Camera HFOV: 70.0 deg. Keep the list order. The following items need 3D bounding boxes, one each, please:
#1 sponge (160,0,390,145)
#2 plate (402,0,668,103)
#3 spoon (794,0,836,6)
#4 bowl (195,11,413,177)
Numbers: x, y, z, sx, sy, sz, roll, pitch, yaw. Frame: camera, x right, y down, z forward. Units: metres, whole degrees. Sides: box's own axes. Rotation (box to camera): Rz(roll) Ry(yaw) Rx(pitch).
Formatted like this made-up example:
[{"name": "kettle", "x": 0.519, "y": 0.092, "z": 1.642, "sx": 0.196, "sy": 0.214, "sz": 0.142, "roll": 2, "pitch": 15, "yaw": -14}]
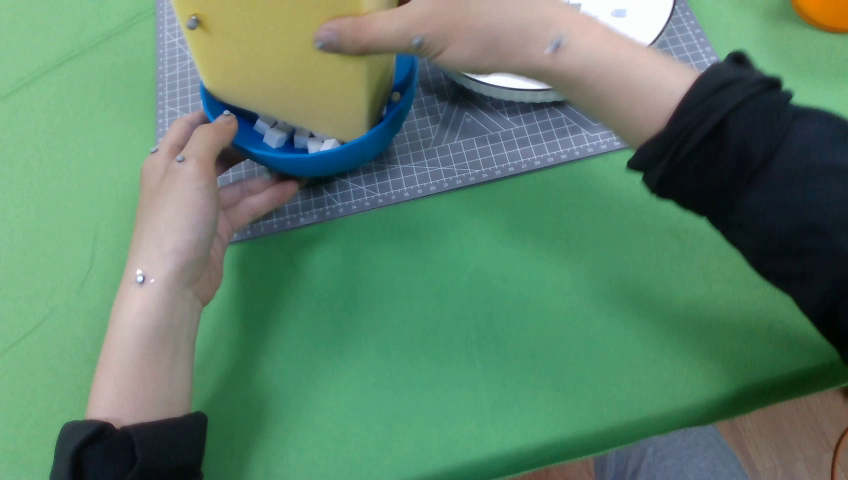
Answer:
[{"name": "sponge", "x": -0.082, "y": -0.144, "z": 0.339, "sx": 0.118, "sy": 0.208, "sz": 0.060, "roll": 18, "pitch": 67, "yaw": 3}, {"name": "plate", "x": 0.086, "y": -0.192, "z": 0.493, "sx": 0.209, "sy": 0.038, "sz": 0.207, "roll": -3, "pitch": 65, "yaw": 6}, {"name": "spoon", "x": 0.356, "y": -0.239, "z": 0.425, "sx": 0.022, "sy": 0.194, "sz": 0.041, "roll": 3, "pitch": 58, "yaw": -42}, {"name": "bowl", "x": -0.078, "y": -0.100, "z": 0.445, "sx": 0.151, "sy": 0.077, "sz": 0.150, "roll": -2, "pitch": 64, "yaw": 5}]
